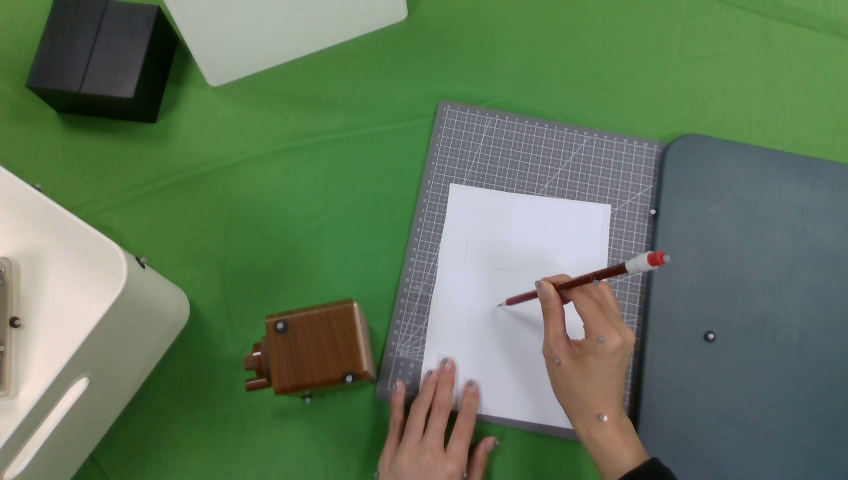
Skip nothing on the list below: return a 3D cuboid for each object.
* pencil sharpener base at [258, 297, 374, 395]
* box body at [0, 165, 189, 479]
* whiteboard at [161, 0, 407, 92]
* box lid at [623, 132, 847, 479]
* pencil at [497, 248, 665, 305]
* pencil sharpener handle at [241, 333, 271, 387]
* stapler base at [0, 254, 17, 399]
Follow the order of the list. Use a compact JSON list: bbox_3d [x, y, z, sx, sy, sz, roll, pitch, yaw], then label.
[{"bbox_3d":[-0.086,0.090,0.495,0.077,0.107,0.061,-11,75,-4],"label":"pencil sharpener base"},{"bbox_3d":[-0.407,0.043,0.469,0.363,0.161,0.253,32,77,7],"label":"box body"},{"bbox_3d":[-0.159,-0.325,0.532,0.217,0.308,0.142,-22,57,-7],"label":"whiteboard"},{"bbox_3d":[0.330,0.084,0.559,0.263,0.015,0.369,11,75,0],"label":"box lid"},{"bbox_3d":[0.110,0.034,0.476,0.012,0.194,0.012,8,71,-25],"label":"pencil"},{"bbox_3d":[-0.135,0.100,0.478,0.031,0.068,0.035,-11,59,-4],"label":"pencil sharpener handle"},{"bbox_3d":[-0.382,0.075,0.527,0.041,0.024,0.130,-9,77,-2],"label":"stapler base"}]
